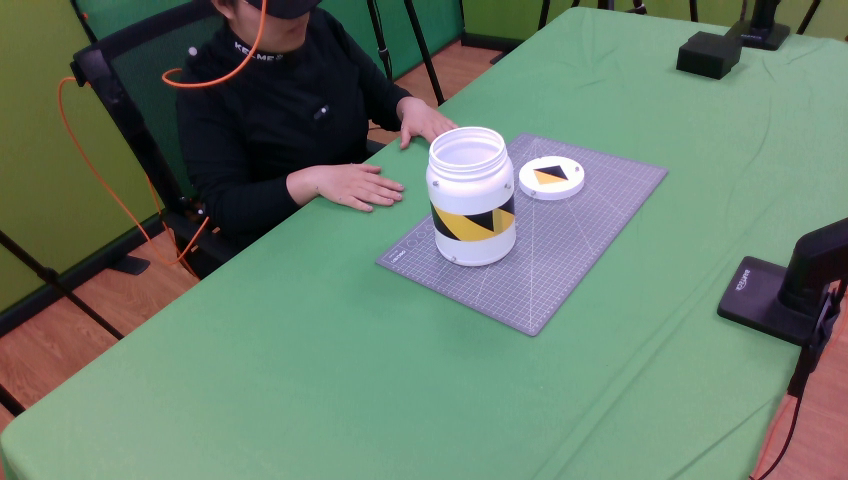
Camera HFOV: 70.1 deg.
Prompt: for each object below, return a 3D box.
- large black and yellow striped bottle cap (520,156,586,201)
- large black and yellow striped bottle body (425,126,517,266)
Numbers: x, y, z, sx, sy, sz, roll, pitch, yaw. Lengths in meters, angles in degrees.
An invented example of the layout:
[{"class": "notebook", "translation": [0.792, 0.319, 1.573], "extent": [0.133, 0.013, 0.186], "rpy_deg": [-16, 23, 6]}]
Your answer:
[{"class": "large black and yellow striped bottle cap", "translation": [0.228, -0.111, 1.072], "extent": [0.115, 0.019, 0.114], "rpy_deg": [-6, 40, 6]}, {"class": "large black and yellow striped bottle body", "translation": [0.072, -0.066, 0.917], "extent": [0.131, 0.185, 0.130], "rpy_deg": [-5, 40, 5]}]
